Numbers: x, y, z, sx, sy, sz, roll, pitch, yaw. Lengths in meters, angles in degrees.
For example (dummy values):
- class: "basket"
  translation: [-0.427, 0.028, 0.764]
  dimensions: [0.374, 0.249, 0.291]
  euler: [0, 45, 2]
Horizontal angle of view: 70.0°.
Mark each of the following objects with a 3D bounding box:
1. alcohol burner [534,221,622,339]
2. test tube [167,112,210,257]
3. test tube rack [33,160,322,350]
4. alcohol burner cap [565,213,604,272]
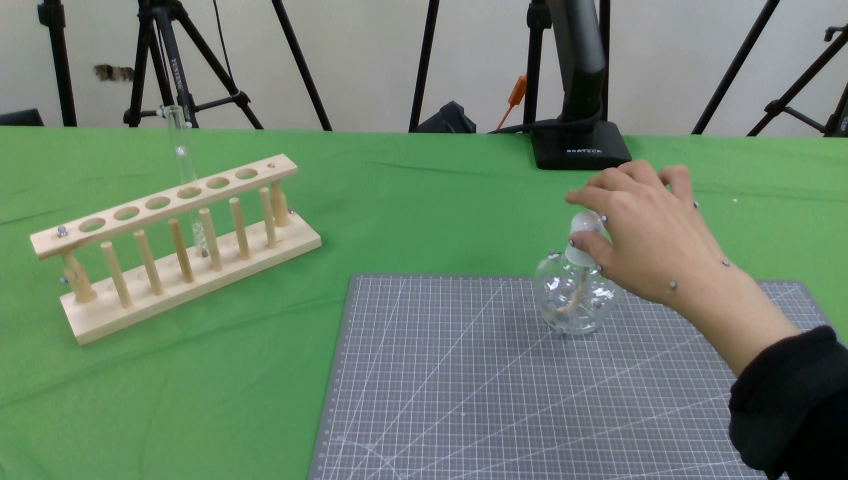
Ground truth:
- class: "alcohol burner"
  translation: [0.137, 0.029, 0.531]
  dimensions: [0.078, 0.120, 0.077]
  euler: [1, 38, 0]
- class: "test tube"
  translation: [-0.224, -0.049, 0.584]
  dimensions: [0.017, 0.151, 0.017]
  euler: [0, 31, 0]
- class: "test tube rack"
  translation: [-0.227, 0.006, 0.593]
  dimensions: [0.243, 0.086, 0.066]
  euler: [-24, 42, -29]
- class: "alcohol burner cap"
  translation: [0.137, -0.001, 0.509]
  dimensions: [0.034, 0.048, 0.033]
  euler: [-4, 38, 3]
